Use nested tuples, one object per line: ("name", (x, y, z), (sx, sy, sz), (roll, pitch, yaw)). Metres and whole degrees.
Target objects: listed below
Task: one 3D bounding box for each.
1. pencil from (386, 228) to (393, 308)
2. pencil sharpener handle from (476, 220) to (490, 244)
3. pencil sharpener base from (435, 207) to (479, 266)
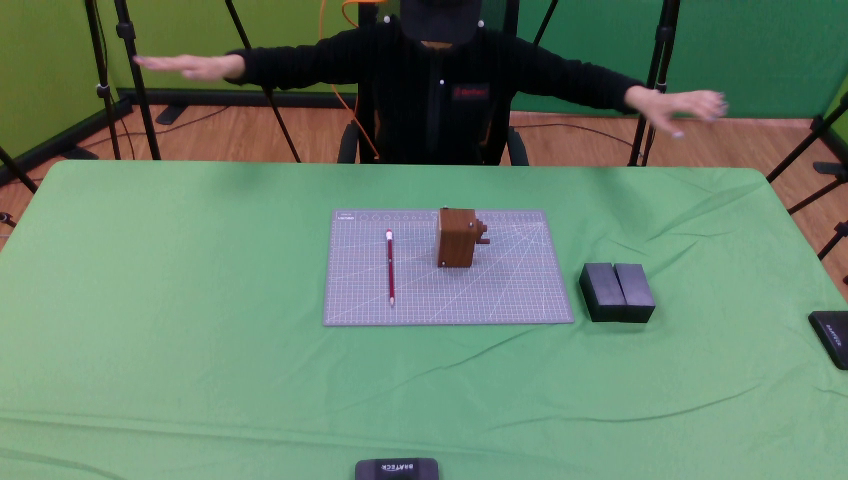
("pencil", (-0.065, 0.050, 1.152), (0.012, 0.012, 0.193), (-1, 48, -4))
("pencil sharpener handle", (0.113, -0.014, 1.140), (0.031, 0.068, 0.036), (1, 56, -4))
("pencil sharpener base", (0.062, -0.004, 1.144), (0.077, 0.107, 0.061), (1, 46, -4))
